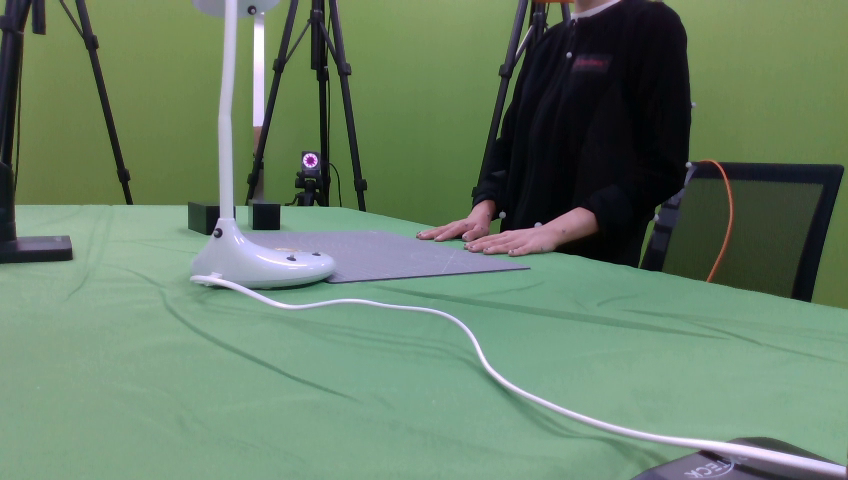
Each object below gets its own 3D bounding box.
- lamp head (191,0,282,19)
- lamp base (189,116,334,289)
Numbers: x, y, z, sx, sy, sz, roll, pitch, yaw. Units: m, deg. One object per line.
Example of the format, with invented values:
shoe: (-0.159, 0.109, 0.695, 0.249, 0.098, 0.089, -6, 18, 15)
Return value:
lamp head: (-0.222, -0.330, 0.690, 0.112, 0.112, 0.123, 3, -33, -4)
lamp base: (-0.185, -0.044, 0.669, 0.160, 0.180, 0.179, 3, 10, 14)
